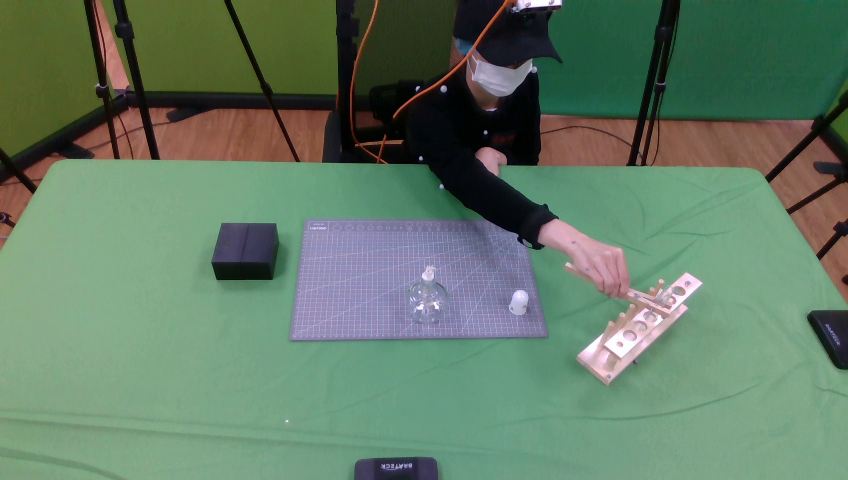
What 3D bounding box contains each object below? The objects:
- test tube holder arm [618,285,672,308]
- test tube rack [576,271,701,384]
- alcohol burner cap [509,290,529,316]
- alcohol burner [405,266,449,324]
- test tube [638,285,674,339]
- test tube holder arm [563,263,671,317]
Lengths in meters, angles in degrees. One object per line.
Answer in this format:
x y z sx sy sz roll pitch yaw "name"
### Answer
0.356 0.092 0.982 0.088 0.015 0.010 17 48 7 "test tube holder arm"
0.373 0.138 1.047 0.242 0.085 0.066 -31 56 -29 "test tube rack"
0.171 0.110 1.086 0.034 0.048 0.033 2 45 -1 "alcohol burner cap"
0.005 0.089 1.044 0.078 0.120 0.077 1 44 -1 "alcohol burner"
0.376 0.121 0.995 0.017 0.151 0.017 2 50 -2 "test tube"
0.313 0.080 0.987 0.178 0.015 0.013 24 49 13 "test tube holder arm"
